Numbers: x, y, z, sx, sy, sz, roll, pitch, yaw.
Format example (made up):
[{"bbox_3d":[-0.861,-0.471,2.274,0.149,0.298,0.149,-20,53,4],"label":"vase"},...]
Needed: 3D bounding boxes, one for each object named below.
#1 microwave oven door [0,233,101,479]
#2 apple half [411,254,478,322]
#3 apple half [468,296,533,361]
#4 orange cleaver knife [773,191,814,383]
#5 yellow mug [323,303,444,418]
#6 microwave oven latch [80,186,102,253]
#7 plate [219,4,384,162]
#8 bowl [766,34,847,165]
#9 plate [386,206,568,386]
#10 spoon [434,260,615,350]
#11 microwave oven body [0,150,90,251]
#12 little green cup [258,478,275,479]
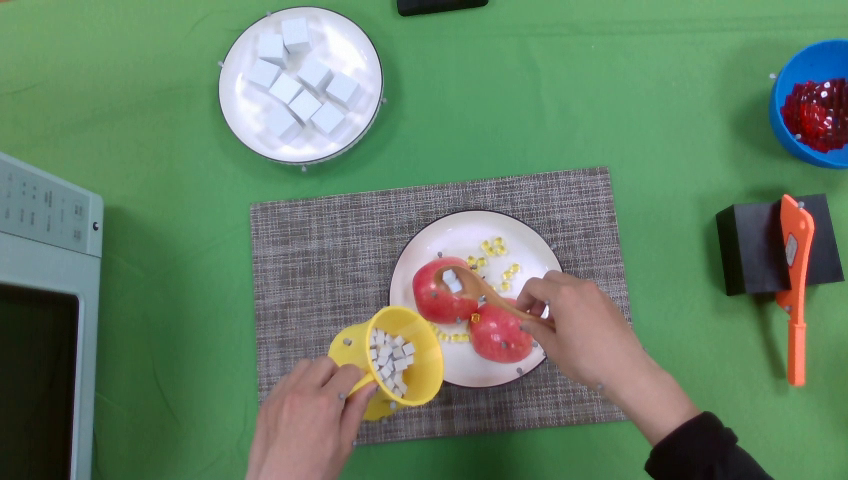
[{"bbox_3d":[-0.413,0.174,0.602,0.039,0.245,0.354,-3,80,3],"label":"microwave oven door"},{"bbox_3d":[0.022,0.054,0.698,0.074,0.053,0.080,-8,80,4],"label":"apple half"},{"bbox_3d":[0.088,0.102,0.696,0.081,0.033,0.081,-1,77,4],"label":"apple half"},{"bbox_3d":[0.406,0.053,0.673,0.012,0.077,0.212,-5,104,7],"label":"orange cleaver knife"},{"bbox_3d":[-0.046,0.124,0.591,0.064,0.131,0.100,-30,89,40],"label":"yellow mug"},{"bbox_3d":[-0.413,-0.025,0.737,0.030,0.029,0.079,-1,81,3],"label":"microwave oven latch"},{"bbox_3d":[-0.152,-0.196,0.770,0.207,0.039,0.207,-1,81,3],"label":"plate"},{"bbox_3d":[0.465,-0.151,0.705,0.151,0.077,0.151,-1,81,4],"label":"bowl"},{"bbox_3d":[0.061,0.065,0.710,0.209,0.038,0.208,0,81,3],"label":"plate"},{"bbox_3d":[0.096,0.068,0.604,0.192,0.021,0.042,25,118,24],"label":"spoon"},{"bbox_3d":[-0.560,0.140,0.621,0.326,0.261,0.440,-3,81,2],"label":"microwave oven body"},{"bbox_3d":[-0.183,0.302,0.689,0.061,0.039,0.061,0,82,1],"label":"little green cup"}]
